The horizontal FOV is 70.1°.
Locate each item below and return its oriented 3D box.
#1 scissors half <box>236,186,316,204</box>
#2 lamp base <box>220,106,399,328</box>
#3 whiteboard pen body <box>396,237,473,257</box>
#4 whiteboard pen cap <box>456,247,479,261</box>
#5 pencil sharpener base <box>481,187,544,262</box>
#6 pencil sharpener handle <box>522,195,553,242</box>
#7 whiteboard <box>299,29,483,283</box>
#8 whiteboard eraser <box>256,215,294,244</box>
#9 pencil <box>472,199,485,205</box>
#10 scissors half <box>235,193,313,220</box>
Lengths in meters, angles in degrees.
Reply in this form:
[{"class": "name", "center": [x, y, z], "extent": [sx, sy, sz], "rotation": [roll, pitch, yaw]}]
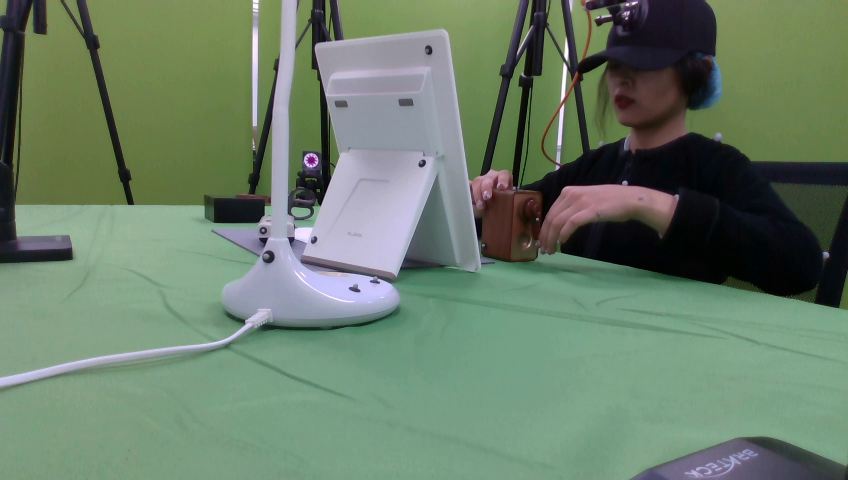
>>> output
[{"class": "scissors half", "center": [-0.320, -0.097, 1.316], "extent": [0.176, 0.040, 0.013], "rotation": [-3, 11, -29]}, {"class": "lamp base", "center": [-0.101, -0.023, 0.531], "extent": [0.160, 0.180, 0.179], "rotation": [4, 10, 10]}, {"class": "whiteboard pen body", "center": [0.014, 0.012, 0.886], "extent": [0.140, 0.017, 0.017], "rotation": [10, 10, 38]}, {"class": "whiteboard pen cap", "center": [0.060, 0.020, 0.851], "extent": [0.033, 0.018, 0.018], "rotation": [10, 11, 37]}, {"class": "pencil sharpener base", "center": [0.134, -0.024, 0.913], "extent": [0.062, 0.107, 0.076], "rotation": [-2, 9, -34]}, {"class": "pencil sharpener handle", "center": [0.168, -0.030, 0.873], "extent": [0.036, 0.068, 0.030], "rotation": [-24, 21, -29]}, {"class": "whiteboard", "center": [-0.074, -0.082, 0.742], "extent": [0.216, 0.305, 0.144], "rotation": [9, 30, 38]}, {"class": "whiteboard eraser", "center": [-0.232, -0.016, 0.951], "extent": [0.056, 0.042, 0.112], "rotation": [2, 7, -12]}, {"class": "pencil", "center": [0.090, -0.061, 0.979], "extent": [0.012, 0.012, 0.193], "rotation": [-3, 7, -35]}, {"class": "scissors half", "center": [-0.325, -0.077, 1.319], "extent": [0.176, 0.040, 0.012], "rotation": [17, 6, -31]}]
